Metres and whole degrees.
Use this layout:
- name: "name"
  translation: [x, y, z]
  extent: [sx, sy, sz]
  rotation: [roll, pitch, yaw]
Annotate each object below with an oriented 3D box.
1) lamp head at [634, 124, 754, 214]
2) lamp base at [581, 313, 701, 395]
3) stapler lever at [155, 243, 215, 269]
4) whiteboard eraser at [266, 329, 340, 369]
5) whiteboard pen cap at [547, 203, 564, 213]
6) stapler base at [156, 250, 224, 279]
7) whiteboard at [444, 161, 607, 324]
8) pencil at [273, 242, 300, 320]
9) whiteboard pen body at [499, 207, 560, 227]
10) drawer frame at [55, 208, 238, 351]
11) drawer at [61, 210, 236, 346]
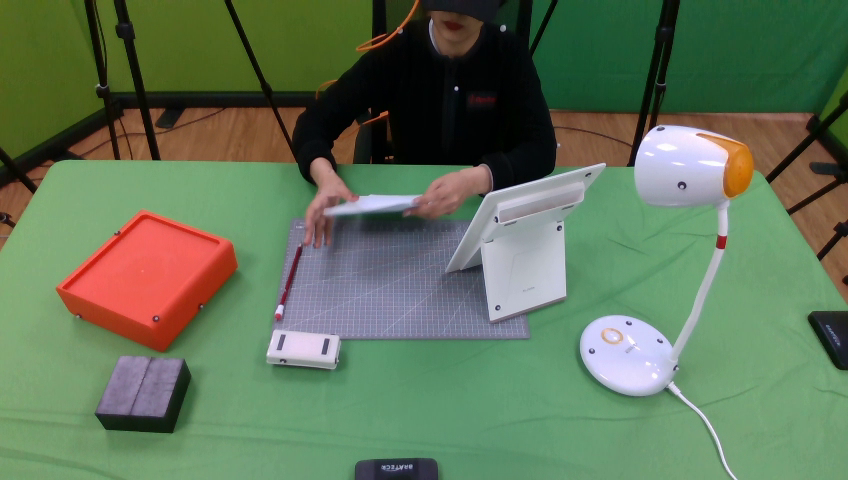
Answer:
- name: "lamp head"
  translation: [0.351, -0.089, 0.775]
  extent: [0.112, 0.113, 0.122]
  rotation: [-30, 30, -28]
- name: "lamp base"
  translation: [0.361, 0.144, 0.973]
  extent: [0.178, 0.181, 0.160]
  rotation: [34, 53, 23]
- name: "stapler lever"
  translation: [-0.433, 0.023, 1.097]
  extent: [0.118, 0.040, 0.026]
  rotation: [14, 39, 14]
- name: "whiteboard eraser"
  translation: [-0.198, 0.181, 0.994]
  extent: [0.113, 0.042, 0.055]
  rotation: [5, 45, 1]
- name: "whiteboard pen cap"
  translation: [0.277, -0.066, 1.275]
  extent: [0.033, 0.018, 0.018]
  rotation: [-18, 50, -15]
- name: "stapler base"
  translation: [-0.431, 0.040, 1.110]
  extent: [0.130, 0.024, 0.041]
  rotation: [11, 38, 17]
- name: "whiteboard"
  translation: [0.186, 0.025, 1.029]
  extent: [0.217, 0.306, 0.143]
  rotation: [-15, 68, -18]
- name: "pencil"
  translation: [-0.249, 0.070, 1.115]
  extent: [0.012, 0.012, 0.193]
  rotation: [5, 43, 1]
- name: "whiteboard pen body"
  translation: [0.221, -0.051, 1.260]
  extent: [0.141, 0.017, 0.017]
  rotation: [-15, 49, -16]
- name: "drawer frame"
  translation: [-0.474, 0.062, 1.059]
  extent: [0.201, 0.083, 0.213]
  rotation: [18, 48, 12]
- name: "drawer"
  translation: [-0.474, 0.061, 1.063]
  extent: [0.194, 0.073, 0.211]
  rotation: [19, 49, 13]
